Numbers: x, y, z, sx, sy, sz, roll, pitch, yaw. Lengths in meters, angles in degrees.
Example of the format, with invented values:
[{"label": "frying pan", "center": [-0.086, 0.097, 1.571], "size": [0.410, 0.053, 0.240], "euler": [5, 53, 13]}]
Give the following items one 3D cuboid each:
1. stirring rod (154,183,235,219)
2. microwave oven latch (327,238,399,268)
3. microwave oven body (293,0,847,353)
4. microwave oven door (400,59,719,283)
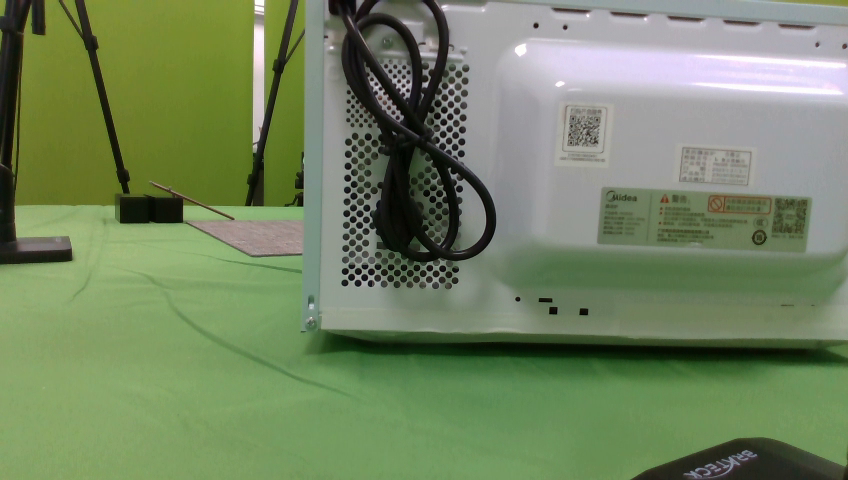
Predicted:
[{"label": "stirring rod", "center": [-0.472, -0.079, 1.252], "size": [0.177, 0.006, 0.014], "euler": [27, 3, -35]}, {"label": "microwave oven latch", "center": [-0.070, 0.015, 0.694], "size": [0.079, 0.029, 0.030], "euler": [3, 7, -2]}, {"label": "microwave oven body", "center": [0.122, -0.055, 0.550], "size": [0.442, 0.260, 0.325], "euler": [3, 7, -5]}, {"label": "microwave oven door", "center": [0.154, -0.078, 0.706], "size": [0.356, 0.243, 0.039], "euler": [2, 8, -2]}]
